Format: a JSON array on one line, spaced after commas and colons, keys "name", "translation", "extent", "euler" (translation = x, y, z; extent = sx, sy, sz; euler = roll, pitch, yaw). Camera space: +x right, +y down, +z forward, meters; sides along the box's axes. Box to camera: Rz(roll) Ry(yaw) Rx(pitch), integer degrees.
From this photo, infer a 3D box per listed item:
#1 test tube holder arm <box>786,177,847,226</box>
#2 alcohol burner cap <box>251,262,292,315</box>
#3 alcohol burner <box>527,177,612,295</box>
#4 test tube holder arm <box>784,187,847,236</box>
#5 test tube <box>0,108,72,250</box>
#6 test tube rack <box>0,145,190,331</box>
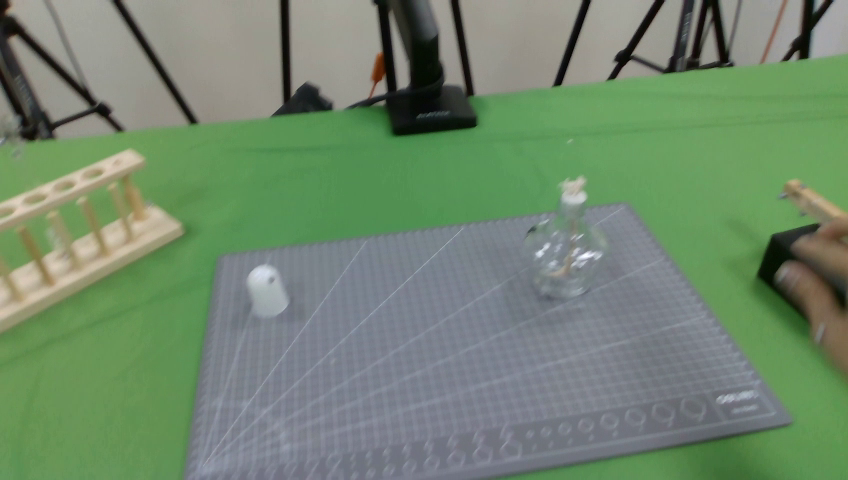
[{"name": "test tube holder arm", "translation": [0.373, -0.032, 0.559], "extent": [0.015, 0.010, 0.087], "euler": [-12, 39, -12]}, {"name": "alcohol burner cap", "translation": [-0.142, 0.042, 0.559], "extent": [0.034, 0.048, 0.033], "euler": [-1, 39, 1]}, {"name": "alcohol burner", "translation": [0.133, -0.008, 0.547], "extent": [0.078, 0.120, 0.077], "euler": [-1, 41, 1]}, {"name": "test tube holder arm", "translation": [0.386, -0.002, 0.528], "extent": [0.015, 0.013, 0.176], "euler": [-12, 39, -12]}, {"name": "test tube", "translation": [-0.368, -0.053, 0.580], "extent": [0.017, 0.151, 0.017], "euler": [-1, 35, 1]}, {"name": "test tube rack", "translation": [-0.364, 0.001, 0.591], "extent": [0.066, 0.086, 0.242], "euler": [28, 48, 33]}]
